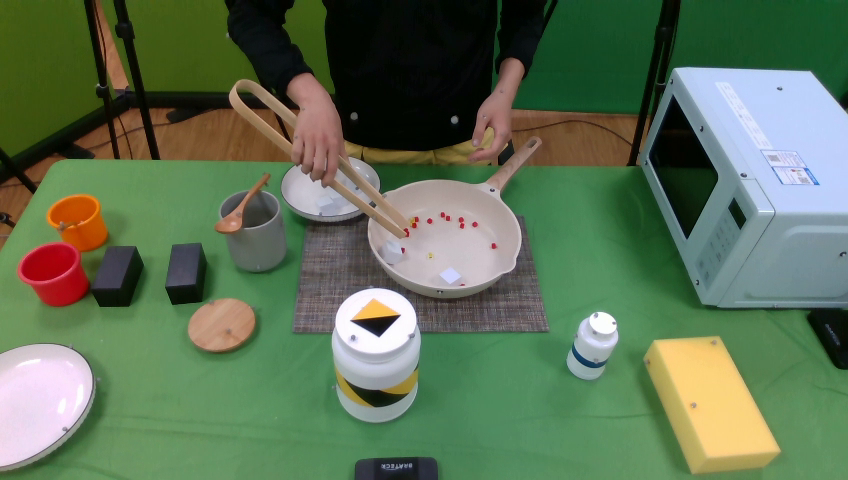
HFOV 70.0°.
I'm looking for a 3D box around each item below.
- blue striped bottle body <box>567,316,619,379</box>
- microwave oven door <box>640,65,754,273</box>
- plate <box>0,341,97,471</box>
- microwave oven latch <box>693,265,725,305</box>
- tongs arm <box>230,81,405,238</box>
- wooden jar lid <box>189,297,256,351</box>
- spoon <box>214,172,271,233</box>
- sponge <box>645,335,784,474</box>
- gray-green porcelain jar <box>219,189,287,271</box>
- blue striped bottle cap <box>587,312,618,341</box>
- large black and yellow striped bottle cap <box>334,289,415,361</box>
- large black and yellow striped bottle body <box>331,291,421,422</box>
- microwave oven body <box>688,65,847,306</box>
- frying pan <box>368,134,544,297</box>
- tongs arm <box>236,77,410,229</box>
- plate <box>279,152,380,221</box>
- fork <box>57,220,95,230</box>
[{"bbox_3d":[0.276,0.168,0.984,0.063,0.121,0.062,2,46,-2],"label":"blue striped bottle body"},{"bbox_3d":[0.522,-0.147,1.193,0.039,0.245,0.353,0,47,-3],"label":"microwave oven door"},{"bbox_3d":[-0.599,0.247,0.904,0.209,0.038,0.208,2,47,-2],"label":"plate"},{"bbox_3d":[0.523,0.081,1.116,0.030,0.029,0.078,2,46,-1],"label":"microwave oven latch"},{"bbox_3d":[-0.181,-0.130,1.057,0.389,0.028,0.028,41,52,-17],"label":"tongs arm"},{"bbox_3d":[-0.342,0.145,1.033,0.108,0.021,0.107,2,45,-2],"label":"wooden jar lid"},{"bbox_3d":[-0.312,-0.070,1.070,0.041,0.022,0.193,9,43,10],"label":"spoon"},{"bbox_3d":[0.449,0.253,0.956,0.118,0.061,0.205,-4,46,-7],"label":"sponge"},{"bbox_3d":[-0.310,-0.014,1.113,0.106,0.127,0.105,2,46,-2],"label":"gray-green porcelain jar"},{"bbox_3d":[0.279,0.134,0.946,0.044,0.021,0.044,2,45,-2],"label":"blue striped bottle cap"},{"bbox_3d":[-0.069,0.117,0.850,0.115,0.019,0.114,2,45,-2],"label":"large black and yellow striped bottle cap"},{"bbox_3d":[-0.071,0.175,0.911,0.131,0.185,0.130,2,47,-2],"label":"large black and yellow striped bottle body"},{"bbox_3d":[0.669,-0.111,1.176,0.326,0.261,0.439,0,46,-3],"label":"microwave oven body"},{"bbox_3d":[0.104,-0.069,1.205,0.305,0.103,0.487,33,61,23],"label":"frying pan"},{"bbox_3d":[-0.175,-0.144,1.070,0.386,0.026,0.050,45,47,-13],"label":"tongs arm"},{"bbox_3d":[-0.196,-0.107,1.269,0.208,0.039,0.206,2,45,-2],"label":"plate"},{"bbox_3d":[-0.624,-0.027,1.086,0.028,0.207,0.018,-2,92,-17],"label":"fork"}]
